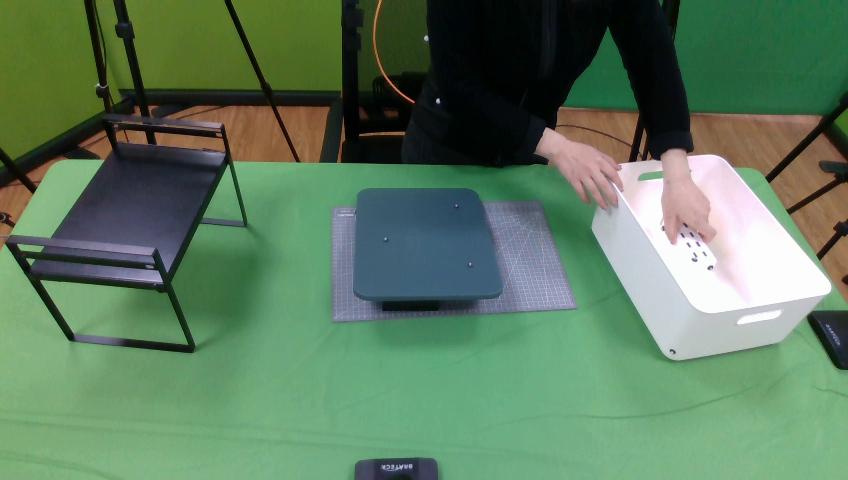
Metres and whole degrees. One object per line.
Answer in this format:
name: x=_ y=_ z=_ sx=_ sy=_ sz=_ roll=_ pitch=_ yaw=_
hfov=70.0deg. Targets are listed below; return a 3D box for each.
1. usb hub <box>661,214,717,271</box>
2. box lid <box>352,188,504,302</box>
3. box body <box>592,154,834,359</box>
usb hub: x=0.484 y=0.003 z=1.114 sx=0.049 sy=0.025 sz=0.124 roll=-5 pitch=45 yaw=-7
box lid: x=-0.002 y=-0.006 z=1.162 sx=0.263 sy=0.015 sz=0.369 roll=0 pitch=34 yaw=-5
box body: x=0.496 y=0.023 z=1.111 sx=0.254 sy=0.161 sz=0.361 roll=-8 pitch=47 yaw=-10
